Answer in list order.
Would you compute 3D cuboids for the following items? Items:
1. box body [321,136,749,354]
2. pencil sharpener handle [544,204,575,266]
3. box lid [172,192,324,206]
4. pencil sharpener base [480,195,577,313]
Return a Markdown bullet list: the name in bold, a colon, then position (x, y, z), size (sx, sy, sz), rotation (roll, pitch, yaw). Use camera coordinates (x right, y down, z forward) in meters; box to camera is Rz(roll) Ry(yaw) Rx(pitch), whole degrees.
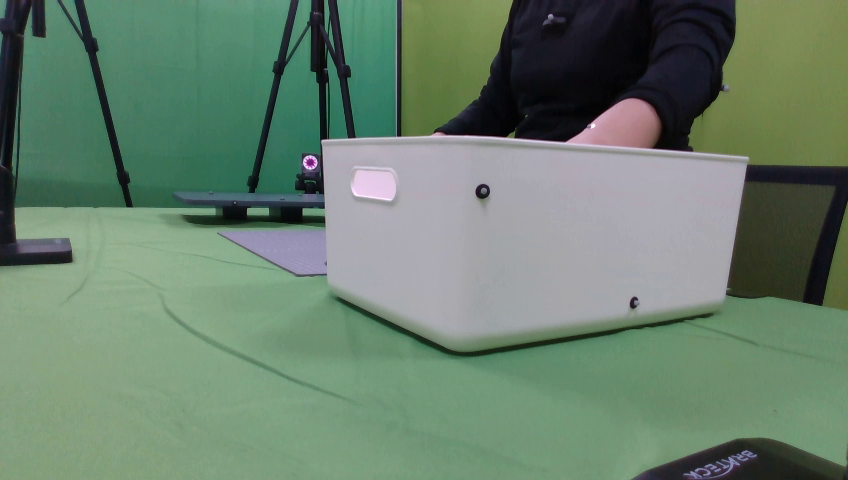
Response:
- **box body**: position (0.105, -0.012, 0.604), size (0.366, 0.160, 0.253), rotation (-2, 8, -33)
- **pencil sharpener handle**: position (0.144, -0.004, 0.623), size (0.031, 0.067, 0.036), rotation (-2, 28, -33)
- **box lid**: position (-0.355, -0.091, 1.350), size (0.373, 0.015, 0.262), rotation (-1, 8, -29)
- **pencil sharpener base**: position (0.103, 0.011, 0.592), size (0.077, 0.107, 0.061), rotation (-2, 9, -33)
